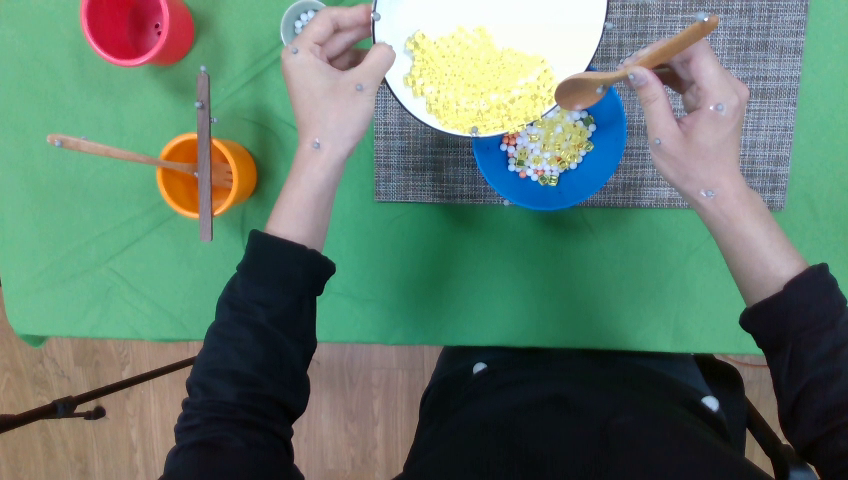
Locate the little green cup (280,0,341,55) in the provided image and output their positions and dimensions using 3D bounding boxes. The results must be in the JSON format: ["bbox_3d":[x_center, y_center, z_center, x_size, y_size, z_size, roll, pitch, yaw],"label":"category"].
[{"bbox_3d":[-0.120,-0.230,0.655,0.061,0.038,0.062,1,102,7],"label":"little green cup"}]

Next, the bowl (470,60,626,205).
[{"bbox_3d":[0.125,-0.115,0.628,0.151,0.076,0.152,1,101,7],"label":"bowl"}]

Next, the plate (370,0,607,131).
[{"bbox_3d":[0.054,-0.196,0.523,0.209,0.037,0.211,-8,129,-10],"label":"plate"}]

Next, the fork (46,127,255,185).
[{"bbox_3d":[-0.281,-0.089,0.644,0.209,0.018,0.028,10,109,-40],"label":"fork"}]

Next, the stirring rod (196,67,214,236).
[{"bbox_3d":[-0.230,-0.090,0.636,0.014,0.006,0.176,4,102,4],"label":"stirring rod"}]

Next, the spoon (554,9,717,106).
[{"bbox_3d":[0.160,-0.138,0.481,0.042,0.193,0.021,24,84,-14],"label":"spoon"}]
